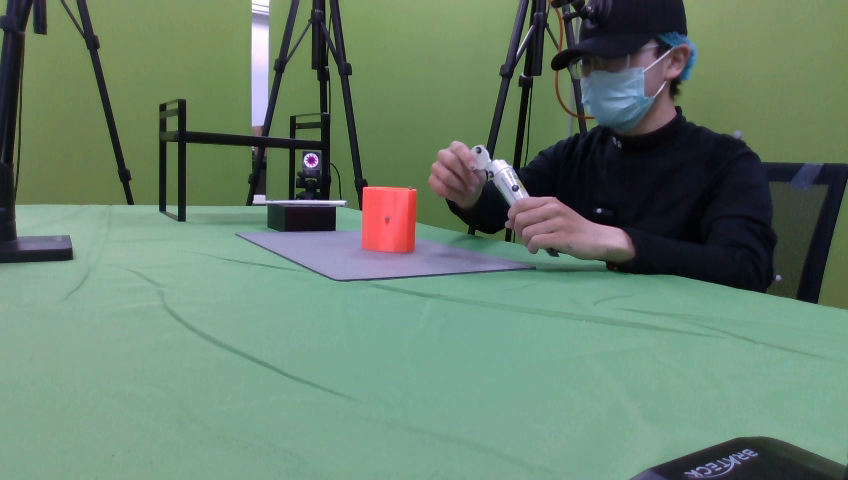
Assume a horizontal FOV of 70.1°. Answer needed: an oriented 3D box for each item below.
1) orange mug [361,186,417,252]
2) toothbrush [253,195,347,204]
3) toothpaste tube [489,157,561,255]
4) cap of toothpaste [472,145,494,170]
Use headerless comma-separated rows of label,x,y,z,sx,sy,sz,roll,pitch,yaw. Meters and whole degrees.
orange mug,-0.054,-0.039,0.962,0.083,0.101,0.126,2,12,0
toothbrush,-0.234,-0.076,1.154,0.183,0.016,0.014,-1,4,-27
toothpaste tube,0.141,-0.049,0.848,0.034,0.164,0.055,-38,-17,27
cap of toothpaste,0.084,-0.119,0.860,0.037,0.037,0.011,9,30,42
